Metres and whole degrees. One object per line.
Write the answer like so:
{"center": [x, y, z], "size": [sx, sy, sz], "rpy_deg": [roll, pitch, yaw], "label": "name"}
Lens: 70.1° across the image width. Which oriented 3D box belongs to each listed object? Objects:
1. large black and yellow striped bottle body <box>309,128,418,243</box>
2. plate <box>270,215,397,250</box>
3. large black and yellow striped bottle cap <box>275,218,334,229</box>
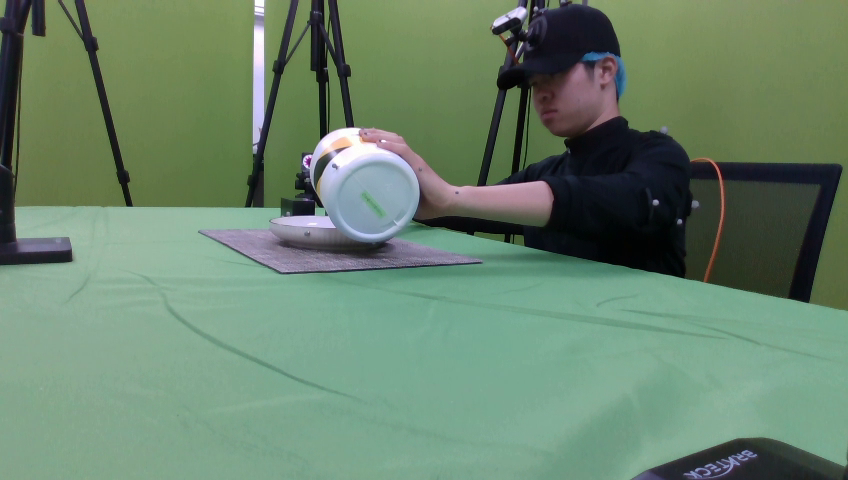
{"center": [-0.095, -0.088, 0.882], "size": [0.131, 0.130, 0.183], "rpy_deg": [0, 24, -21], "label": "large black and yellow striped bottle body"}
{"center": [-0.145, -0.013, 0.992], "size": [0.208, 0.039, 0.207], "rpy_deg": [3, 7, 0], "label": "plate"}
{"center": [-0.236, -0.033, 1.197], "size": [0.115, 0.019, 0.115], "rpy_deg": [2, 3, 0], "label": "large black and yellow striped bottle cap"}
